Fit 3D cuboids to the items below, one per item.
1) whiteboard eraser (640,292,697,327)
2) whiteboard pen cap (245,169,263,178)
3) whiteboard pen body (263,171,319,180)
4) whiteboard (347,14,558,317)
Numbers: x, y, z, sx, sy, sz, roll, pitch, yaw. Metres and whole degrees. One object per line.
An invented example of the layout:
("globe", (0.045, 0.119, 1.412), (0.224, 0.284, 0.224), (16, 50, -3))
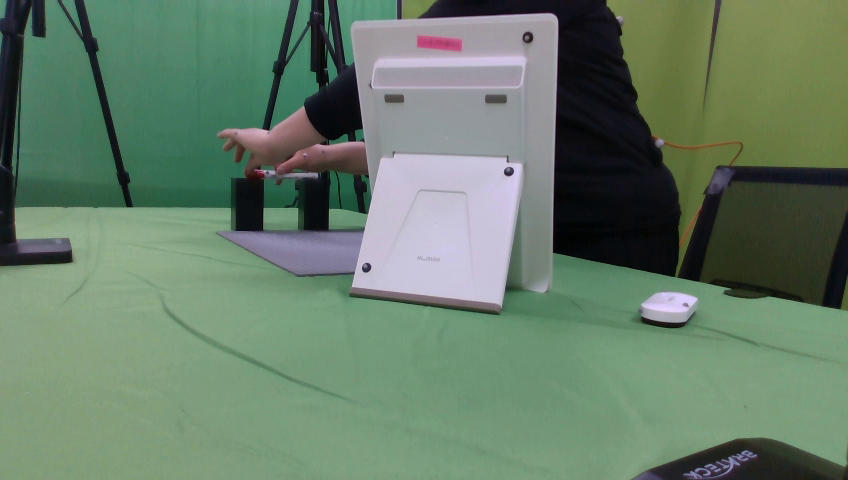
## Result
("whiteboard eraser", (0.240, 0.066, 0.590), (0.041, 0.019, 0.102), (7, 7, 31))
("whiteboard pen cap", (-0.320, -0.125, 1.144), (0.032, 0.017, 0.017), (0, 8, -37))
("whiteboard pen body", (-0.270, -0.127, 1.178), (0.141, 0.017, 0.017), (-2, 9, -36))
("whiteboard", (0.012, -0.056, 0.609), (0.216, 0.305, 0.144), (5, 27, 20))
